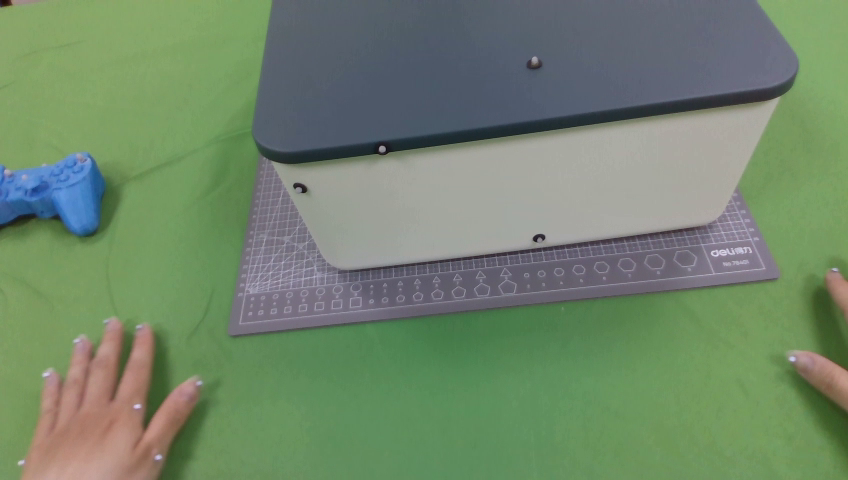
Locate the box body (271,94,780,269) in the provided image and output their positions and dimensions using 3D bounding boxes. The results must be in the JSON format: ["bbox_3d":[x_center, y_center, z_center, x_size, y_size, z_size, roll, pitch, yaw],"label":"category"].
[{"bbox_3d":[0.067,-0.128,0.528,0.364,0.162,0.251,-7,51,3],"label":"box body"}]

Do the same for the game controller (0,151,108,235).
[{"bbox_3d":[-0.398,-0.045,0.608,0.155,0.052,0.096,-7,48,2],"label":"game controller"}]

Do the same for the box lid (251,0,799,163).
[{"bbox_3d":[0.056,-0.174,0.470,0.371,0.015,0.260,-7,52,3],"label":"box lid"}]
